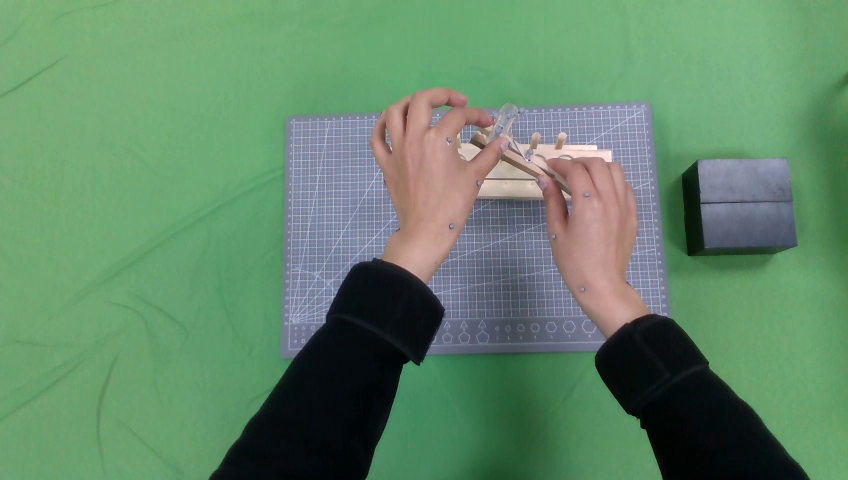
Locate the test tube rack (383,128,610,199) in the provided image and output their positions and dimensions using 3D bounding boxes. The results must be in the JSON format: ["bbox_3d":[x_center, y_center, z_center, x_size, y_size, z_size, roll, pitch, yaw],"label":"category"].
[{"bbox_3d":[0.080,-0.091,0.692,0.242,0.085,0.066,1,80,3],"label":"test tube rack"}]

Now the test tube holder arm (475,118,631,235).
[{"bbox_3d":[0.124,-0.061,0.583,0.178,0.015,0.013,35,81,3],"label":"test tube holder arm"}]

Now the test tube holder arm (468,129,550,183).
[{"bbox_3d":[0.083,-0.081,0.584,0.088,0.015,0.010,29,80,2],"label":"test tube holder arm"}]

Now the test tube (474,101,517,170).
[{"bbox_3d":[0.066,-0.097,0.585,0.017,0.150,0.017,1,79,-4],"label":"test tube"}]

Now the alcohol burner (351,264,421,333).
[{"bbox_3d":[-0.042,0.061,0.656,0.078,0.119,0.077,0,78,1],"label":"alcohol burner"}]
